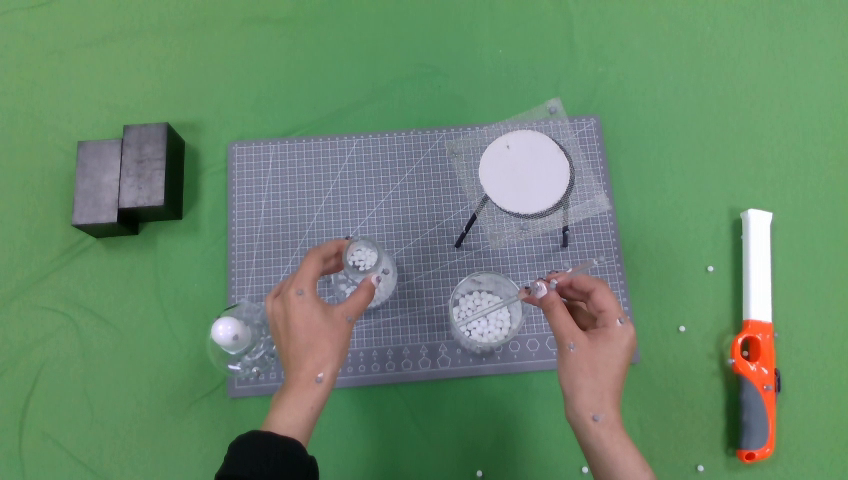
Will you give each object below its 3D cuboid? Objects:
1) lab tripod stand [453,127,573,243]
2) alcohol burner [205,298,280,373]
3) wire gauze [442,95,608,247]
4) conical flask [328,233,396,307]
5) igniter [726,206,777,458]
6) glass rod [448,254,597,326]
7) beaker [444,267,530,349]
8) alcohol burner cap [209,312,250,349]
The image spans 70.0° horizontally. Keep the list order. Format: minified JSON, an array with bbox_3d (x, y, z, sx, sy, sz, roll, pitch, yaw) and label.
[{"bbox_3d":[0.097,-0.048,0.643,0.148,0.132,0.147,0,77,1],"label":"lab tripod stand"},{"bbox_3d":[-0.189,0.095,0.615,0.078,0.119,0.077,0,76,-1],"label":"alcohol burner"},{"bbox_3d":[0.095,-0.067,0.578,0.125,0.011,0.121,-21,78,-4],"label":"wire gauze"},{"bbox_3d":[-0.065,0.025,0.625,0.075,0.122,0.075,1,77,-5],"label":"conical flask"},{"bbox_3d":[0.359,0.096,0.664,0.057,0.025,0.275,10,76,-8],"label":"igniter"},{"bbox_3d":[0.082,0.050,0.562,0.008,0.199,0.008,17,58,-30],"label":"glass rod"},{"bbox_3d":[0.061,0.074,0.629,0.084,0.101,0.073,-6,75,-2],"label":"beaker"},{"bbox_3d":[-0.188,0.084,0.581,0.034,0.048,0.033,1,73,-4],"label":"alcohol burner cap"}]
